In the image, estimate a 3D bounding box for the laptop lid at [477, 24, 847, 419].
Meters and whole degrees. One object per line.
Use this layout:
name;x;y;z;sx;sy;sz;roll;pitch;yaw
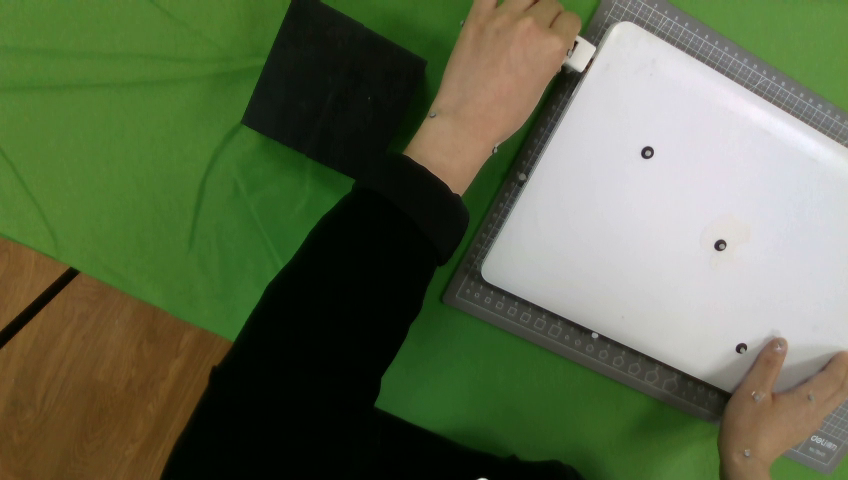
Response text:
laptop lid;0.249;0.005;0.521;0.358;0.013;0.242;26;105;-12

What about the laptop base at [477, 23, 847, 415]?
laptop base;0.249;-0.001;0.531;0.356;0.023;0.236;24;106;-12

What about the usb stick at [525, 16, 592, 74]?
usb stick;0.108;-0.145;0.461;0.059;0.027;0.021;25;110;-24
